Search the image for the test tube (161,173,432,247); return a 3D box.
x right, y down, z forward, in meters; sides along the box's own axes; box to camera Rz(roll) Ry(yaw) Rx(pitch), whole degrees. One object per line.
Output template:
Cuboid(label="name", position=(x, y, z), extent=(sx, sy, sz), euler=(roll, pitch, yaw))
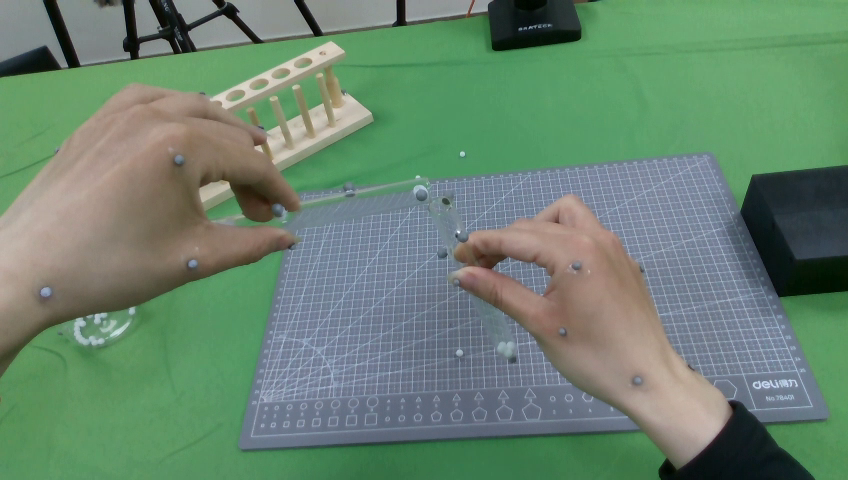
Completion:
Cuboid(label="test tube", position=(-0.069, -0.017, 0.334), extent=(0.150, 0.017, 0.017), euler=(-11, 48, -3))

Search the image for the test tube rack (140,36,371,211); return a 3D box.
Cuboid(label="test tube rack", position=(-0.187, -0.139, 0.706), extent=(0.242, 0.086, 0.066), euler=(-32, 51, -17))

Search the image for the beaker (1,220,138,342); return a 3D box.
Cuboid(label="beaker", position=(-0.321, 0.040, 0.564), extent=(0.073, 0.101, 0.083), euler=(17, 54, 23))

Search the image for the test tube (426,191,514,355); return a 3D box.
Cuboid(label="test tube", position=(0.033, 0.028, 0.390), extent=(0.017, 0.152, 0.017), euler=(-15, 41, 14))
